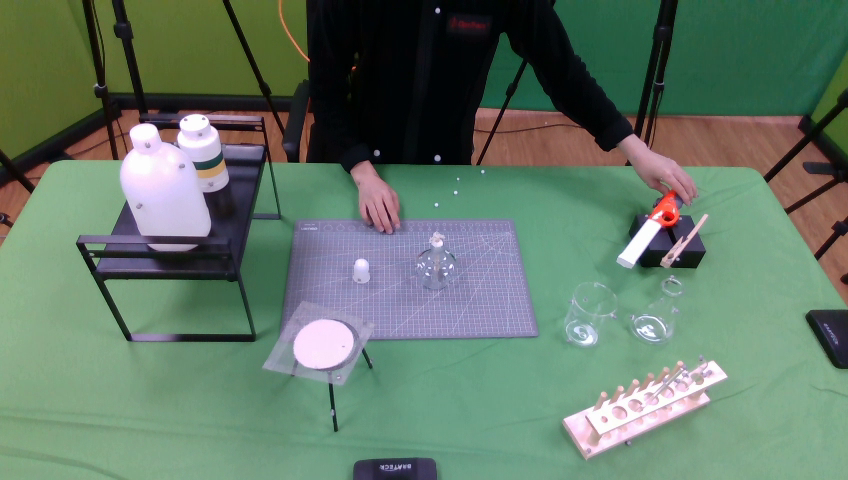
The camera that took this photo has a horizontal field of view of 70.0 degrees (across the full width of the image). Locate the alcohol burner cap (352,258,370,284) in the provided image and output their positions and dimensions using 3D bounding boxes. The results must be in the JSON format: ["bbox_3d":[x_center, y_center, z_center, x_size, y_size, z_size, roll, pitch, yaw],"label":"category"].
[{"bbox_3d":[-0.117,0.055,1.118,0.034,0.048,0.033,2,46,-1],"label":"alcohol burner cap"}]

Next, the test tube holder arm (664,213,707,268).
[{"bbox_3d":[0.507,-0.001,1.171,0.013,0.015,0.178,34,54,26],"label":"test tube holder arm"}]

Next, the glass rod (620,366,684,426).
[{"bbox_3d":[0.322,0.227,0.866,0.008,0.200,0.008,6,51,-7],"label":"glass rod"}]

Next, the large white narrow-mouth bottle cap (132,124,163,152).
[{"bbox_3d":[-0.371,-0.137,0.813,0.038,0.024,0.037,3,46,-3],"label":"large white narrow-mouth bottle cap"}]

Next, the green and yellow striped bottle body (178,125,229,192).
[{"bbox_3d":[-0.361,-0.142,0.989,0.063,0.120,0.063,2,46,-2],"label":"green and yellow striped bottle body"}]

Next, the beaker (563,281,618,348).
[{"bbox_3d":[0.283,0.129,1.041,0.074,0.101,0.083,11,46,7],"label":"beaker"}]

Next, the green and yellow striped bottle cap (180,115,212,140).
[{"bbox_3d":[-0.358,-0.177,0.951,0.045,0.020,0.045,1,44,-1],"label":"green and yellow striped bottle cap"}]

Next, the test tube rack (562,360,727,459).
[{"bbox_3d":[0.341,0.247,0.940,0.243,0.085,0.066,-16,49,-18],"label":"test tube rack"}]

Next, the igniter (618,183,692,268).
[{"bbox_3d":[0.460,-0.036,1.197,0.057,0.025,0.276,32,55,23],"label":"igniter"}]

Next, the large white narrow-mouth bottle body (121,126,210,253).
[{"bbox_3d":[-0.378,-0.077,0.875,0.102,0.195,0.101,3,46,-3],"label":"large white narrow-mouth bottle body"}]

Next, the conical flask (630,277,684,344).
[{"bbox_3d":[0.408,0.117,1.045,0.075,0.122,0.075,2,46,-2],"label":"conical flask"}]

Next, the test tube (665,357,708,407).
[{"bbox_3d":[0.387,0.216,0.905,0.017,0.151,0.017,1,53,-1],"label":"test tube"}]

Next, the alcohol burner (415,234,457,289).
[{"bbox_3d":[0.022,0.033,1.100,0.078,0.120,0.077,1,47,-1],"label":"alcohol burner"}]

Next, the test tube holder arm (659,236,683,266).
[{"bbox_3d":[0.472,0.020,1.149,0.010,0.015,0.088,35,54,27],"label":"test tube holder arm"}]

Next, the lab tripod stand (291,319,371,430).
[{"bbox_3d":[-0.146,0.194,0.923,0.148,0.132,0.147,1,47,-1],"label":"lab tripod stand"}]

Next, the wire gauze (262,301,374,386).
[{"bbox_3d":[-0.150,0.148,0.873,0.121,0.011,0.124,14,46,12],"label":"wire gauze"}]
